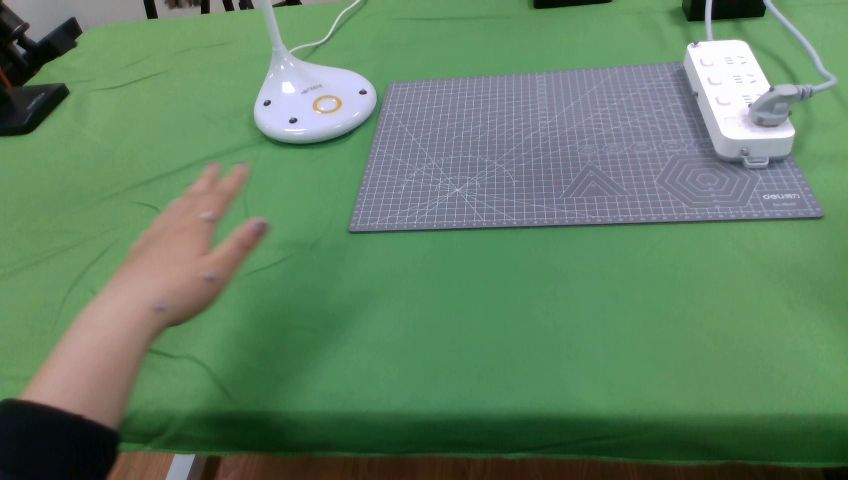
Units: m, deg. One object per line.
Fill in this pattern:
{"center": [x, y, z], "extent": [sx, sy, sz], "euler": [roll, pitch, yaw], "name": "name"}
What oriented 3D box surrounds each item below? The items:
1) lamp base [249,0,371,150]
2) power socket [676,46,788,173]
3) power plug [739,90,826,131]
{"center": [-0.167, -0.227, 0.745], "extent": [0.177, 0.182, 0.160], "euler": [29, 55, 37], "name": "lamp base"}
{"center": [0.338, -0.156, 0.679], "extent": [0.072, 0.033, 0.224], "euler": [0, 43, 9], "name": "power socket"}
{"center": [0.356, -0.122, 0.606], "extent": [0.072, 0.053, 0.035], "euler": [7, 45, 16], "name": "power plug"}
